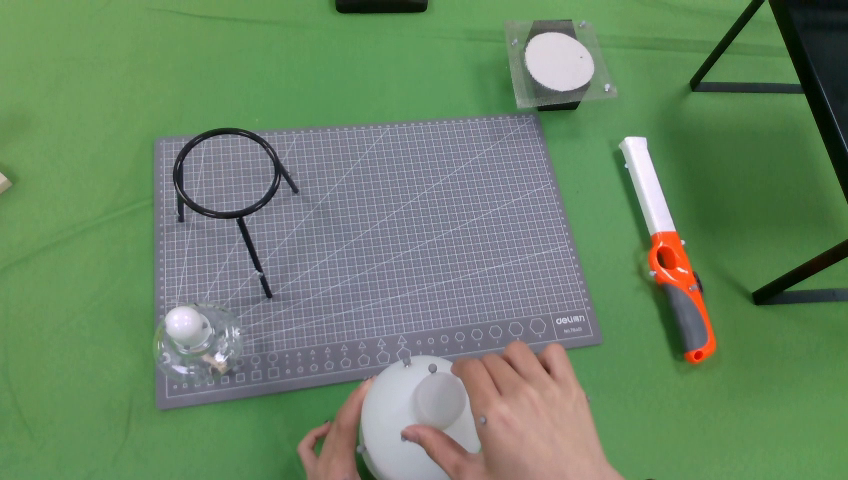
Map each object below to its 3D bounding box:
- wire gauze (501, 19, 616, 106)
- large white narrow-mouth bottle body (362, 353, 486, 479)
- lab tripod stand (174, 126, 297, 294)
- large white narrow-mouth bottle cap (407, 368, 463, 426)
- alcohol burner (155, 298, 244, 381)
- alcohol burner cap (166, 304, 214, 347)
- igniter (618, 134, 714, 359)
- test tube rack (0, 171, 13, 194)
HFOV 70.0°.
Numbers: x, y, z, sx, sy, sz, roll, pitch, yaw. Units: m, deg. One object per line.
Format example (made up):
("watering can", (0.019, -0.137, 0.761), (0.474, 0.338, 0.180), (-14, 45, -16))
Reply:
("wire gauze", (0.159, -0.218, 0.729), (0.122, 0.011, 0.124), (-5, 68, -10))
("large white narrow-mouth bottle body", (-0.002, 0.148, 0.500), (0.102, 0.196, 0.101), (2, 66, -5))
("lab tripod stand", (-0.176, -0.033, 0.584), (0.149, 0.132, 0.147), (4, 67, -8))
("large white narrow-mouth bottle cap", (0.007, 0.107, 0.413), (0.038, 0.024, 0.037), (3, 66, -5))
("alcohol burner", (-0.203, 0.084, 0.541), (0.078, 0.120, 0.077), (4, 65, -8))
("alcohol burner cap", (-0.198, 0.071, 0.508), (0.034, 0.048, 0.033), (2, 72, -7))
("igniter", (0.275, -0.001, 0.694), (0.057, 0.025, 0.274), (-2, 67, -20))
("test tube rack", (-0.526, -0.014, 0.557), (0.066, 0.085, 0.242), (39, 67, 10))
